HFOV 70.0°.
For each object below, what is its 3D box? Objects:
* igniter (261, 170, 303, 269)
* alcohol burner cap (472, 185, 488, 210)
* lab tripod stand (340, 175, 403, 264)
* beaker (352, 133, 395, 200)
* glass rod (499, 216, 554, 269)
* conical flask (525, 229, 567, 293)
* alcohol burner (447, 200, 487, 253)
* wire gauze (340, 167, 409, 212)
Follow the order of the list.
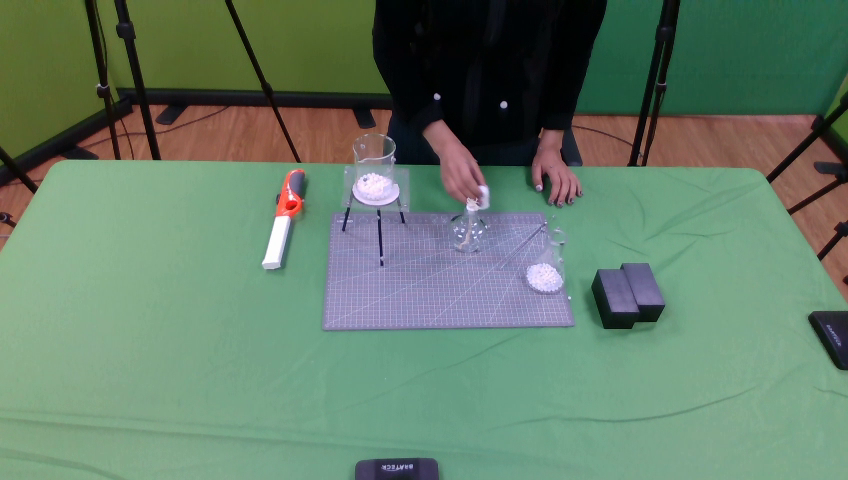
[{"bbox_3d":[-0.283,-0.050,1.222,0.057,0.025,0.275,-4,45,6],"label":"igniter"},{"bbox_3d":[0.113,-0.087,1.216,0.034,0.048,0.033,-1,43,1],"label":"alcohol burner cap"},{"bbox_3d":[-0.093,-0.050,1.160,0.148,0.132,0.147,2,44,-2],"label":"lab tripod stand"},{"bbox_3d":[-0.091,-0.126,1.074,0.074,0.101,0.084,26,48,21],"label":"beaker"},{"bbox_3d":[0.208,0.002,1.219,0.008,0.008,0.199,32,52,25],"label":"glass rod"},{"bbox_3d":[0.232,0.036,1.110,0.075,0.122,0.075,2,46,-2],"label":"conical flask"},{"bbox_3d":[0.085,-0.033,1.171,0.078,0.119,0.077,4,45,-3],"label":"alcohol burner"},{"bbox_3d":[-0.091,-0.095,1.111,0.125,0.011,0.120,1,43,-2],"label":"wire gauze"}]
